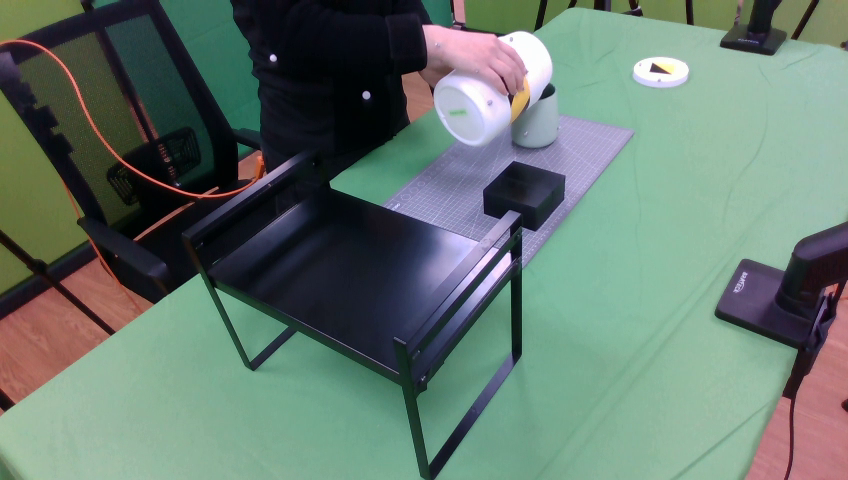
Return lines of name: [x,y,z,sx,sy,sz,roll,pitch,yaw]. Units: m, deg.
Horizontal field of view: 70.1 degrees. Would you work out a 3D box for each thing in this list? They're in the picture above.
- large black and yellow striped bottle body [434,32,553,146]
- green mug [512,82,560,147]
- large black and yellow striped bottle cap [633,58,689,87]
large black and yellow striped bottle body: [0.123,-0.262,1.033,0.129,0.131,0.184,30,61,36]
green mug: [0.217,-0.251,1.169,0.092,0.105,0.125,2,41,12]
large black and yellow striped bottle cap: [0.521,-0.370,1.331,0.115,0.019,0.114,-3,41,3]
